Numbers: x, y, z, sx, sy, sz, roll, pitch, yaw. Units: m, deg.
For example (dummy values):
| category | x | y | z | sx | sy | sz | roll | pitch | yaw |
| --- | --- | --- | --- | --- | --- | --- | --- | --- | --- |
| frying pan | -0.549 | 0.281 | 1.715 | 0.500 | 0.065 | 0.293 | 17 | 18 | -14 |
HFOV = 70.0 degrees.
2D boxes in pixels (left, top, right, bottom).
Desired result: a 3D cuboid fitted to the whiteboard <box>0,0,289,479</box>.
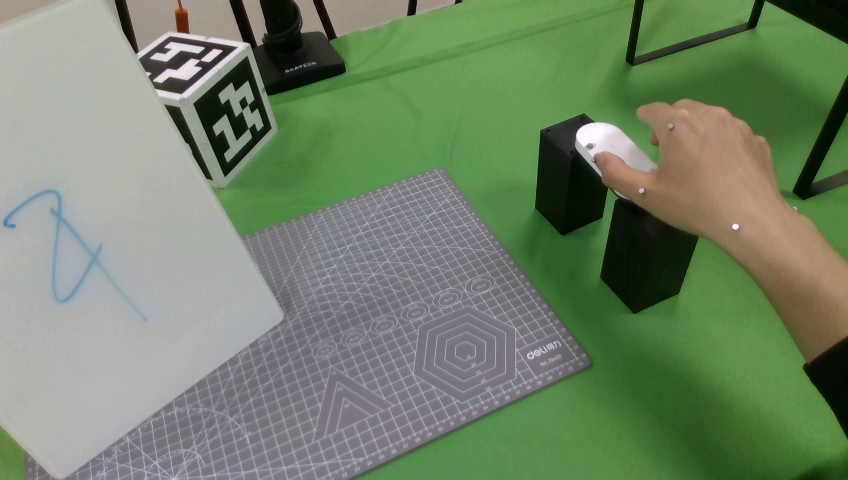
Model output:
| category | x | y | z | sx | sy | sz | roll | pitch | yaw |
| --- | --- | --- | --- | --- | --- | --- | --- | --- | --- |
| whiteboard | -0.291 | -0.006 | 0.489 | 0.217 | 0.308 | 0.142 | -37 | 34 | -25 |

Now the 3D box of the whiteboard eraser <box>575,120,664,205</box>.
| category | x | y | z | sx | sy | sz | roll | pitch | yaw |
| --- | --- | --- | --- | --- | --- | --- | --- | --- | --- |
| whiteboard eraser | 0.166 | -0.070 | 0.520 | 0.041 | 0.019 | 0.100 | -19 | 50 | -10 |
